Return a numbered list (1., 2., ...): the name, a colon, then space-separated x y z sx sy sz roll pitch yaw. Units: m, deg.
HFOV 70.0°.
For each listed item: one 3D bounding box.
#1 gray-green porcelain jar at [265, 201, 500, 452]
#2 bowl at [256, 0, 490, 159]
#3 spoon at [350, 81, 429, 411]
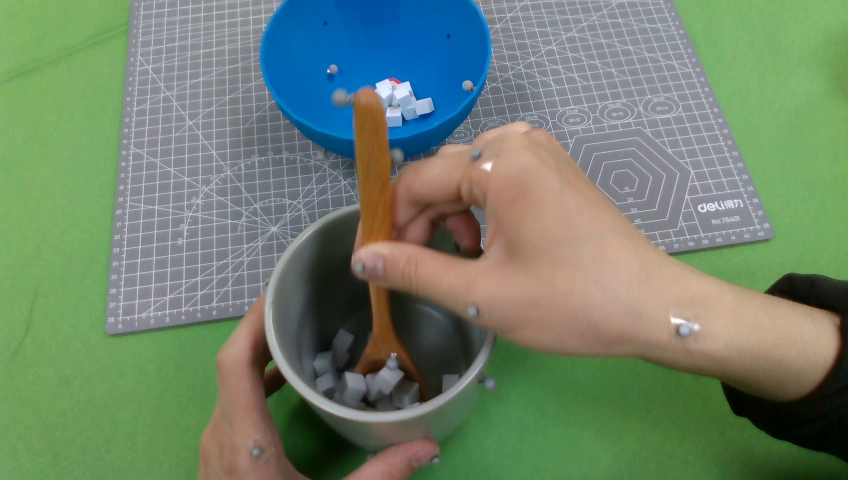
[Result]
1. gray-green porcelain jar: -0.017 0.054 0.324 0.106 0.127 0.105 0 64 1
2. bowl: -0.032 -0.109 0.424 0.151 0.077 0.150 0 64 1
3. spoon: -0.019 0.023 0.275 0.041 0.195 0.021 5 39 7
